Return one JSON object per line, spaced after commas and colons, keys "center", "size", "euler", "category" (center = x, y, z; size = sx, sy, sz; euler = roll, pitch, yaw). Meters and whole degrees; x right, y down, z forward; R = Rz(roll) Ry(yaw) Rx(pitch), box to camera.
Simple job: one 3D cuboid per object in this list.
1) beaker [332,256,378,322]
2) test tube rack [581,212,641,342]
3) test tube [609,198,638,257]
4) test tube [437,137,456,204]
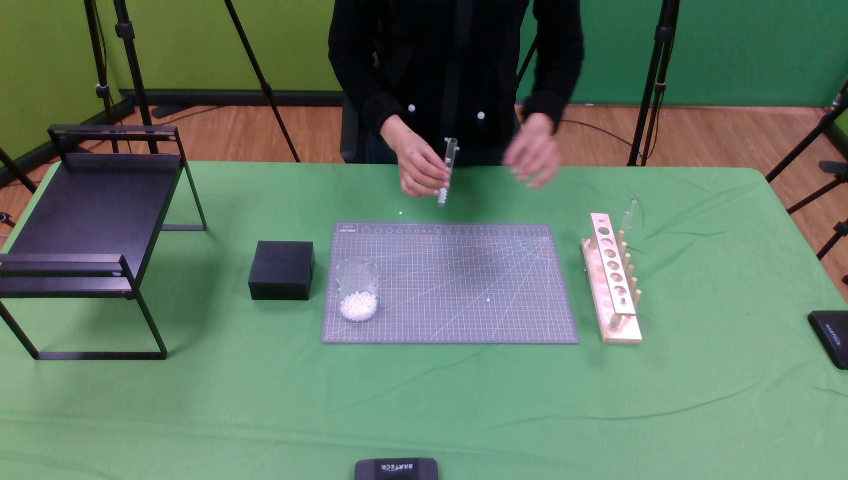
{"center": [-0.114, 0.089, 1.047], "size": [0.083, 0.101, 0.074], "euler": [30, 51, 21], "category": "beaker"}
{"center": [0.351, 0.063, 1.121], "size": [0.067, 0.085, 0.241], "euler": [3, 46, -1], "category": "test tube rack"}
{"center": [0.375, -0.021, 1.141], "size": [0.017, 0.151, 0.017], "euler": [2, 45, -2], "category": "test tube"}
{"center": [0.038, -0.120, 1.074], "size": [0.017, 0.151, 0.017], "euler": [4, 48, -4], "category": "test tube"}
